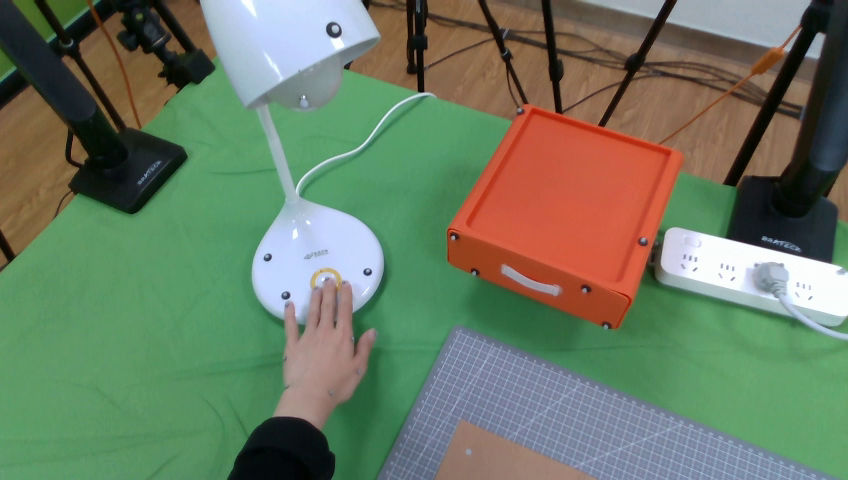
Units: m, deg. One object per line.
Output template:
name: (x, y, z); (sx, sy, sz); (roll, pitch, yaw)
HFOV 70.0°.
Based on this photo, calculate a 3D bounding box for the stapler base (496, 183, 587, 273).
stapler base: (0.133, -0.019, 0.699); (0.041, 0.025, 0.129); (-37, 58, -3)

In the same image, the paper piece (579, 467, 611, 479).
paper piece: (0.188, 0.298, 0.553); (0.135, 0.004, 0.135); (21, 59, 16)

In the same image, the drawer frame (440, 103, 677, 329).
drawer frame: (0.153, -0.037, 0.688); (0.201, 0.083, 0.212); (21, 58, 16)

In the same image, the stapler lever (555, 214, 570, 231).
stapler lever: (0.124, -0.032, 0.677); (0.027, 0.040, 0.117); (-37, 57, -3)

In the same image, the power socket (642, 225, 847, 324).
power socket: (0.377, 0.039, 0.713); (0.226, 0.033, 0.072); (15, 58, 11)

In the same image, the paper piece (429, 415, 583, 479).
paper piece: (0.068, 0.256, 0.587); (0.135, 0.009, 0.137); (19, 59, 18)

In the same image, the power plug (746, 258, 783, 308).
power plug: (0.375, 0.051, 0.677); (0.035, 0.053, 0.072); (25, 60, 17)

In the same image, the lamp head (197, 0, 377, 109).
lamp head: (-0.110, -0.168, 0.428); (0.112, 0.112, 0.123); (-34, 99, -20)

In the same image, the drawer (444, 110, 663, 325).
drawer: (0.154, -0.034, 0.687); (0.193, 0.074, 0.211); (21, 58, 16)

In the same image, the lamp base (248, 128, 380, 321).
lamp base: (-0.143, -0.025, 0.682); (0.161, 0.182, 0.177); (-27, 56, -16)
